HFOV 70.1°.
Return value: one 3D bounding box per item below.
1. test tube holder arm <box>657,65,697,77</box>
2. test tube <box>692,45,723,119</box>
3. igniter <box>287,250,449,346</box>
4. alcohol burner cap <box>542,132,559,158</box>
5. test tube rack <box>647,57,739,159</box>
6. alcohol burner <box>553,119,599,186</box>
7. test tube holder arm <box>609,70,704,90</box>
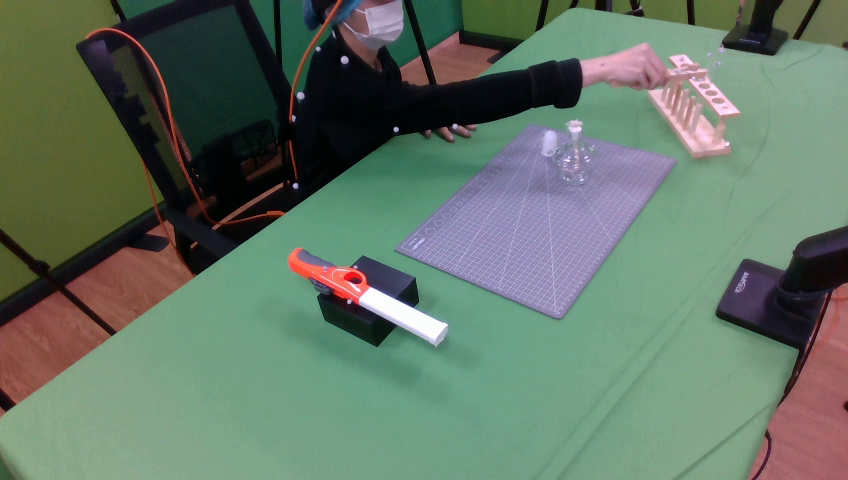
[{"bbox_3d":[0.449,-0.294,1.074,0.088,0.015,0.010,-19,45,-20],"label":"test tube holder arm"},{"bbox_3d":[0.517,-0.285,1.106,0.017,0.151,0.017,-2,46,3],"label":"test tube"},{"bbox_3d":[-0.087,0.073,0.825,0.274,0.025,0.057,23,48,28],"label":"igniter"},{"bbox_3d":[0.237,-0.180,1.134,0.034,0.048,0.033,-5,41,5],"label":"alcohol burner cap"},{"bbox_3d":[0.504,-0.257,1.153,0.067,0.085,0.241,-8,40,2],"label":"test tube rack"},{"bbox_3d":[0.261,-0.153,1.042,0.078,0.119,0.077,-6,40,6],"label":"alcohol burner"},{"bbox_3d":[0.408,-0.281,1.059,0.179,0.015,0.013,-10,42,-11],"label":"test tube holder arm"}]
